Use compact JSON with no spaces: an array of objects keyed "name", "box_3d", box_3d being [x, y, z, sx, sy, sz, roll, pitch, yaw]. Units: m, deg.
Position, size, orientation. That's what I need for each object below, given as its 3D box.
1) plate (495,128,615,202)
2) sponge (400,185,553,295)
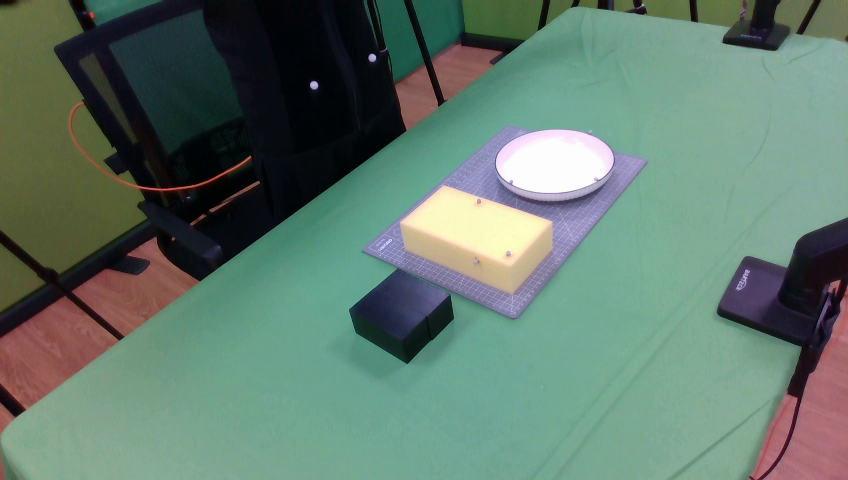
[{"name":"plate","box_3d":[0.231,-0.130,1.077,0.209,0.038,0.208,-5,40,5]},{"name":"sponge","box_3d":[0.081,-0.005,0.940,0.205,0.061,0.118,21,49,31]}]
